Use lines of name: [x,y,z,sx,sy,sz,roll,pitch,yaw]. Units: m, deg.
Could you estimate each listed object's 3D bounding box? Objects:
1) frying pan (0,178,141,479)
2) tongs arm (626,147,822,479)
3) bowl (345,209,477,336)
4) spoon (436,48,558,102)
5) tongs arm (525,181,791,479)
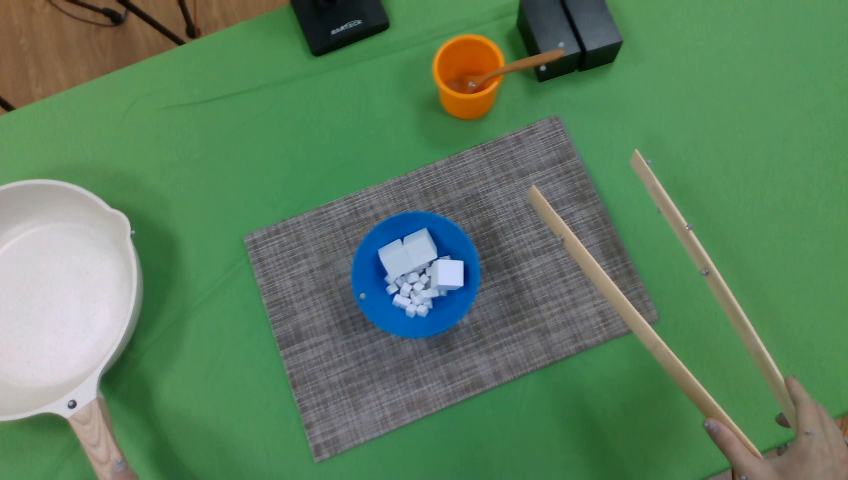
frying pan: [-0.426,0.145,0.711,0.307,0.103,0.484,-36,68,-6]
tongs arm: [0.293,0.057,0.635,0.051,0.027,0.381,-15,62,-16]
bowl: [-0.012,0.045,0.730,0.151,0.077,0.150,-1,75,2]
spoon: [0.086,-0.209,0.761,0.022,0.192,0.041,27,69,-35]
tongs arm: [0.223,0.082,0.613,0.028,0.028,0.384,-25,65,-24]
